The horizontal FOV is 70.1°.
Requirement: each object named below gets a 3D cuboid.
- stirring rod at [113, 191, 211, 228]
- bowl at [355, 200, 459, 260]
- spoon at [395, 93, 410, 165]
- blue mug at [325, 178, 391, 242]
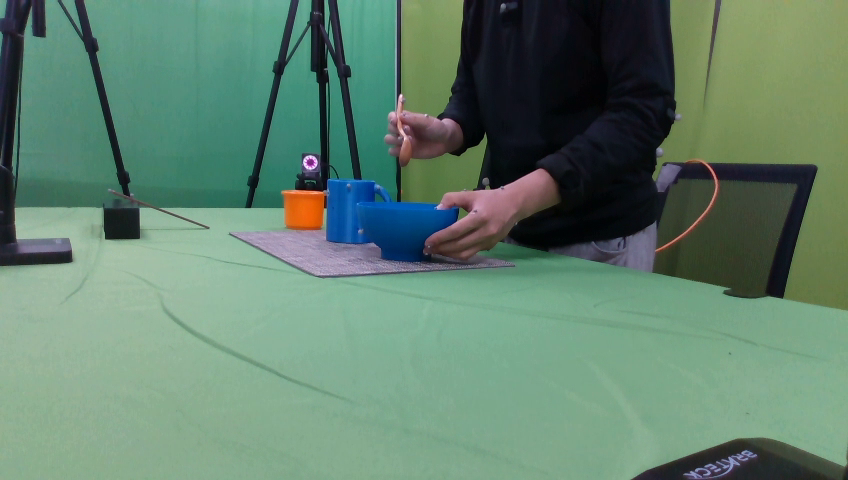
[{"bbox_3d":[-0.484,-0.055,1.121,0.177,0.006,0.014,22,-6,-22],"label":"stirring rod"},{"bbox_3d":[-0.026,-0.015,0.877,0.151,0.077,0.151,2,7,0],"label":"bowl"},{"bbox_3d":[-0.038,-0.188,0.981,0.021,0.042,0.193,-8,44,0],"label":"spoon"},{"bbox_3d":[-0.111,-0.052,1.034,0.116,0.106,0.082,3,7,7],"label":"blue mug"}]
